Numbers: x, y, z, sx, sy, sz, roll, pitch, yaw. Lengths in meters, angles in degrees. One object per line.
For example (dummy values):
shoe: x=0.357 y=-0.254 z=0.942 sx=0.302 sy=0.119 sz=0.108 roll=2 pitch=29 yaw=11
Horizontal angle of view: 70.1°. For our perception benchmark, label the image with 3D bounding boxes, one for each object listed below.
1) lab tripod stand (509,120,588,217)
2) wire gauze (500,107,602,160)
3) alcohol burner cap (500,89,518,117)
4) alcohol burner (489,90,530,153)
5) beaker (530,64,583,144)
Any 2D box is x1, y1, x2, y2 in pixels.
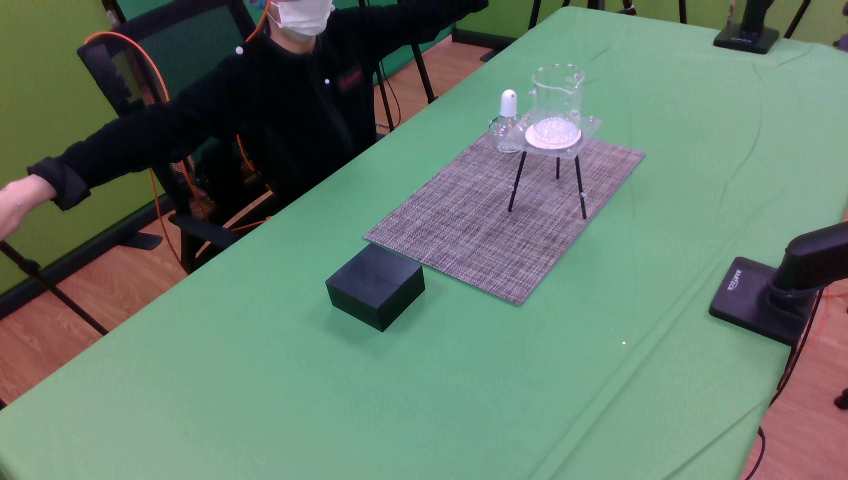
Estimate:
lab tripod stand: x=0.207 y=-0.114 z=0.983 sx=0.148 sy=0.132 sz=0.147 roll=-5 pitch=42 yaw=5
wire gauze: x=0.199 y=-0.166 z=0.945 sx=0.120 sy=0.011 sz=0.125 roll=17 pitch=50 yaw=28
alcohol burner cap: x=0.158 y=-0.254 z=1.114 sx=0.034 sy=0.048 sz=0.033 roll=-1 pitch=38 yaw=1
alcohol burner: x=0.160 y=-0.226 z=1.136 sx=0.078 sy=0.119 sz=0.077 roll=-6 pitch=41 yaw=5
beaker: x=0.201 y=-0.201 z=0.909 sx=0.074 sy=0.101 sz=0.083 roll=-19 pitch=43 yaw=-10
